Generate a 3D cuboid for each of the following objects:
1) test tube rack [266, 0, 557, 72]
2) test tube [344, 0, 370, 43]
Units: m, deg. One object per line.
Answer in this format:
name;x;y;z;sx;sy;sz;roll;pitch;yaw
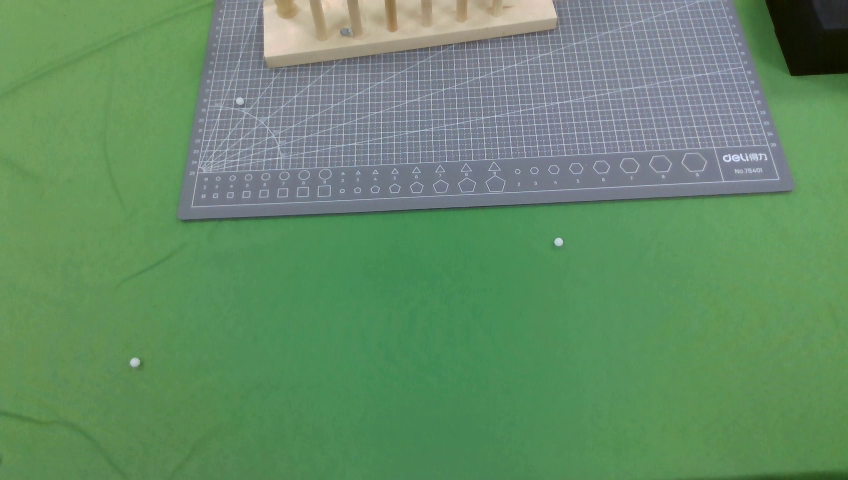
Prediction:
test tube rack;-0.015;-0.205;0.486;0.242;0.086;0.066;-8;63;-1
test tube;-0.056;-0.203;0.437;0.017;0.152;0.017;-1;62;3
